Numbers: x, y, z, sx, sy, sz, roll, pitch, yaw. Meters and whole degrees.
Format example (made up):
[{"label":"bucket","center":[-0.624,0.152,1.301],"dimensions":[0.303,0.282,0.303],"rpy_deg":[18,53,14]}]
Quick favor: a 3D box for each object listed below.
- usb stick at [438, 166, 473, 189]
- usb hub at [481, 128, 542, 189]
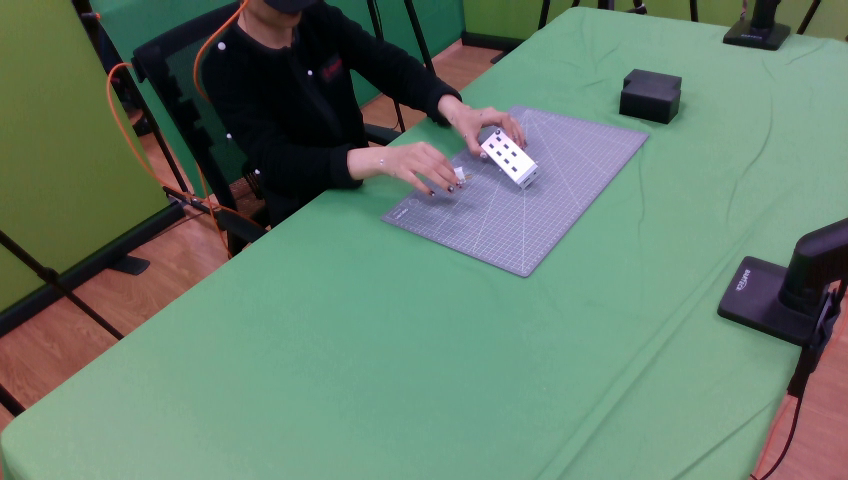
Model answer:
[{"label":"usb stick","center":[0.056,-0.110,1.048],"dimensions":[0.059,0.027,0.021],"rpy_deg":[-14,18,8]},{"label":"usb hub","center":[0.157,-0.149,1.092],"dimensions":[0.049,0.025,0.124],"rpy_deg":[-44,54,10]}]
